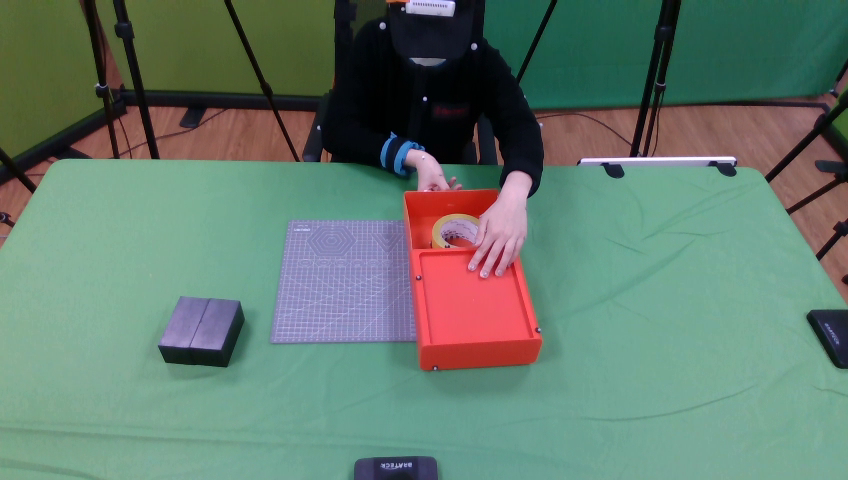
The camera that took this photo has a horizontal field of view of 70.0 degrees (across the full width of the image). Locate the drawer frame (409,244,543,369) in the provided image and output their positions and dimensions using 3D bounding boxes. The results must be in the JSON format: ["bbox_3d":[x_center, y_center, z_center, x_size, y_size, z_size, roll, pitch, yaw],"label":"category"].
[{"bbox_3d":[0.082,0.110,1.052,0.202,0.083,0.212,-2,47,-7],"label":"drawer frame"}]

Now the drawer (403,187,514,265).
[{"bbox_3d":[0.065,-0.007,1.165,0.195,0.073,0.210,-1,45,-7],"label":"drawer"}]

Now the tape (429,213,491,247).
[{"bbox_3d":[0.068,0.002,1.167,0.117,0.053,0.116,2,44,-2],"label":"tape"}]
